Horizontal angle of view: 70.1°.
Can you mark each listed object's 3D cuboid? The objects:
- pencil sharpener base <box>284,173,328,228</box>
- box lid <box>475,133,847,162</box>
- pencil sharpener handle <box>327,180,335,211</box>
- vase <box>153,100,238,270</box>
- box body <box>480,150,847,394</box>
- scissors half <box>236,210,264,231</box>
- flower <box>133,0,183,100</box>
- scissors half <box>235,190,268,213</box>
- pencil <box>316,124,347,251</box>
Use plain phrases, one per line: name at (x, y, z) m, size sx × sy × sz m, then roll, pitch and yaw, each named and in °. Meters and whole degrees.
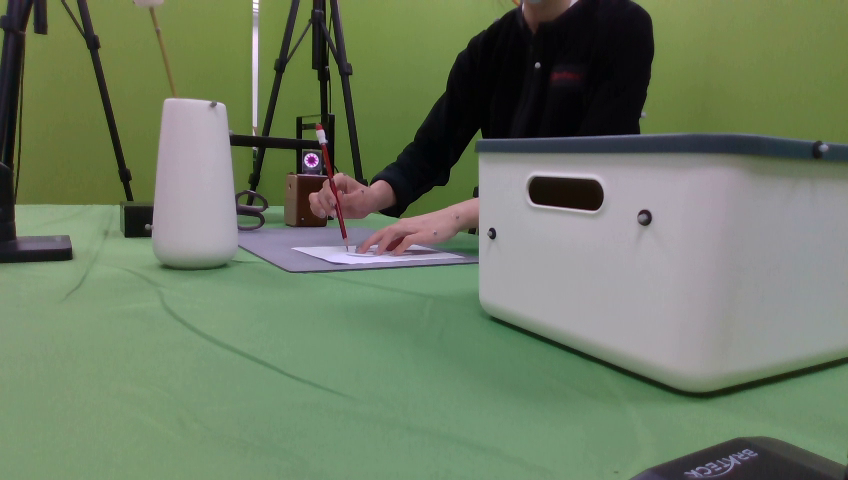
pencil sharpener base at (-0.239, -0.081, 1.231) m, size 0.077 × 0.107 × 0.061 m, roll -2°, pitch 8°, yaw -36°
box lid at (0.255, -0.073, 0.528) m, size 0.373 × 0.015 × 0.262 m, roll -2°, pitch 8°, yaw -31°
pencil sharpener handle at (-0.194, -0.095, 1.257) m, size 0.031 × 0.067 × 0.036 m, roll -2°, pitch -5°, yaw -36°
vase at (-0.278, -0.066, 0.736) m, size 0.098 × 0.200 × 0.098 m, roll 2°, pitch 9°, yaw 0°
box body at (0.254, 0.002, 0.539) m, size 0.366 × 0.160 × 0.253 m, roll -2°, pitch 8°, yaw -31°
scissors half at (-0.369, -0.051, 1.065) m, size 0.176 × 0.040 × 0.012 m, roll 19°, pitch 13°, yaw -27°
flower at (-0.282, -0.147, 0.713) m, size 0.038 × 0.362 × 0.044 m, roll -23°, pitch 24°, yaw -31°
scissors half at (-0.363, -0.070, 1.060) m, size 0.176 × 0.040 × 0.013 m, roll 0°, pitch 16°, yaw -23°
pencil at (-0.135, -0.078, 0.895) m, size 0.012 × 0.193 × 0.012 m, roll -13°, pitch -4°, yaw -1°
